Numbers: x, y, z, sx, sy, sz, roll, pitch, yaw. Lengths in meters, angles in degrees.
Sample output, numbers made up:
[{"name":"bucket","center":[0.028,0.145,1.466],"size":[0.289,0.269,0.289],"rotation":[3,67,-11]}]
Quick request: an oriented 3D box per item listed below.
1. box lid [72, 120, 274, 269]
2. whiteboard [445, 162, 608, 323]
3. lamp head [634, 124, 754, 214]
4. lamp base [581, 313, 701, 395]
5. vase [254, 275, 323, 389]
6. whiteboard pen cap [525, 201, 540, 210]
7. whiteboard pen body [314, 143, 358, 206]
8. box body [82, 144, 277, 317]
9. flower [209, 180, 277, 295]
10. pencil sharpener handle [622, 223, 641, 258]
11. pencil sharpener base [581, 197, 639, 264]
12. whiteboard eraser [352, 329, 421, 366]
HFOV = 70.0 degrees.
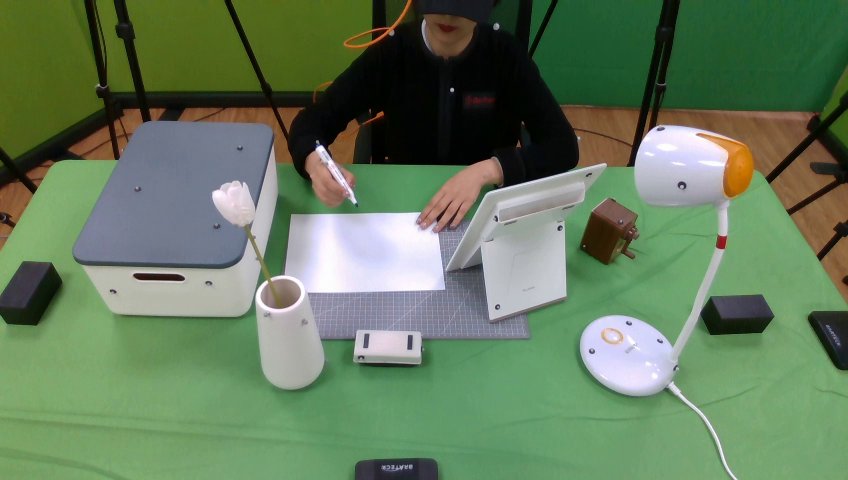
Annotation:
[{"name":"box lid","center":[-0.417,-0.094,1.056],"size":[0.263,0.015,0.369],"rotation":[1,47,-3]},{"name":"whiteboard","center":[0.186,0.025,1.029],"size":[0.217,0.306,0.143],"rotation":[-14,68,-17]},{"name":"lamp head","center":[0.351,-0.089,0.776],"size":[0.112,0.113,0.122],"rotation":[-30,30,-28]},{"name":"lamp base","center":[0.361,0.144,0.973],"size":[0.178,0.181,0.160],"rotation":[34,53,23]},{"name":"vase","center":[-0.209,0.143,0.921],"size":[0.098,0.201,0.097],"rotation":[1,46,-1]},{"name":"whiteboard pen cap","center":[0.230,-0.074,1.289],"size":[0.033,0.018,0.018],"rotation":[5,46,4]},{"name":"whiteboard pen body","center":[-0.162,-0.120,1.124],"size":[0.017,0.017,0.140],"rotation":[-31,83,-29]},{"name":"box body","center":[-0.421,-0.041,1.108],"size":[0.254,0.161,0.361],"rotation":[2,46,-3]},{"name":"flower","center":[-0.217,0.075,0.871],"size":[0.044,0.363,0.038],"rotation":[-28,36,-19]},{"name":"pencil sharpener handle","center":[0.397,0.002,1.146],"size":[0.030,0.068,0.036],"rotation":[37,46,27]},{"name":"pencil sharpener base","center":[0.362,-0.017,1.179],"size":[0.076,0.107,0.061],"rotation":[37,54,27]},{"name":"whiteboard eraser","center":[-0.061,0.179,1.005],"size":[0.113,0.042,0.055],"rotation":[3,48,-3]}]
